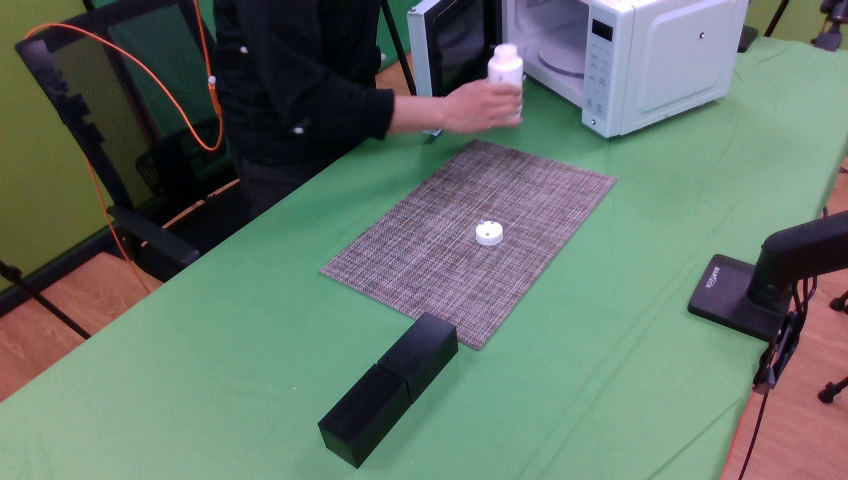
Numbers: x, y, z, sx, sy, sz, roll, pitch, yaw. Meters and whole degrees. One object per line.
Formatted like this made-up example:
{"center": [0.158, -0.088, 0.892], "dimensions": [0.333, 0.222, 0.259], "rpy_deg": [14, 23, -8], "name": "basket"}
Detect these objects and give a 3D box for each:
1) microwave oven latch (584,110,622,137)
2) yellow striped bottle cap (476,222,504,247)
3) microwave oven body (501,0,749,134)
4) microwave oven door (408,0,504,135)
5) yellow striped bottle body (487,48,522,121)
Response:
{"center": [0.337, -0.222, 1.142], "dimensions": [0.030, 0.029, 0.078], "rpy_deg": [-21, 42, -14], "name": "microwave oven latch"}
{"center": [0.105, -0.010, 0.966], "dimensions": [0.044, 0.019, 0.044], "rpy_deg": [-3, 39, 3], "name": "yellow striped bottle cap"}
{"center": [0.381, -0.444, 1.246], "dimensions": [0.327, 0.261, 0.437], "rpy_deg": [-22, 42, -16], "name": "microwave oven body"}
{"center": [0.078, -0.410, 1.241], "dimensions": [0.039, 0.245, 0.356], "rpy_deg": [15, 46, 24], "name": "microwave oven door"}
{"center": [0.145, -0.283, 1.097], "dimensions": [0.063, 0.121, 0.062], "rpy_deg": [-3, 41, 3], "name": "yellow striped bottle body"}
